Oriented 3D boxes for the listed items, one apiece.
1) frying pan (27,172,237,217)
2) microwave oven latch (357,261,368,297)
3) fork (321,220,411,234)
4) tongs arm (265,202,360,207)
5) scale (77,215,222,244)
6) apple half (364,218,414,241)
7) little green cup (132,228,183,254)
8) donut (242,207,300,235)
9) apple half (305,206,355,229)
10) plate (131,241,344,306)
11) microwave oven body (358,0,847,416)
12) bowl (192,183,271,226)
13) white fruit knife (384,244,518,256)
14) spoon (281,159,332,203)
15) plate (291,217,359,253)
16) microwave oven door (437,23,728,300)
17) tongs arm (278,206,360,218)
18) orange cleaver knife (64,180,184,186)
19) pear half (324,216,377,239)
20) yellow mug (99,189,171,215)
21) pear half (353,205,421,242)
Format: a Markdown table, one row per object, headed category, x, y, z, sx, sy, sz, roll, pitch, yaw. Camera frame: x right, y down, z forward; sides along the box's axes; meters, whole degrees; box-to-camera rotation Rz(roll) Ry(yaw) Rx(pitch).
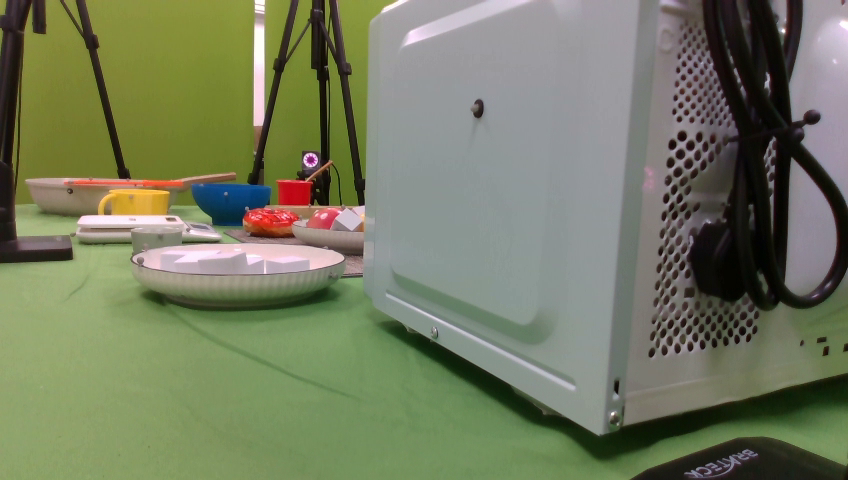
| category | x | y | z | sx | sy | sz | roll | pitch | yaw |
| --- | --- | --- | --- | --- | --- | --- | --- | --- | --- |
| frying pan | -0.624 | -0.118 | 1.387 | 0.305 | 0.102 | 0.490 | 8 | 17 | 32 |
| microwave oven latch | -0.019 | 0.033 | 0.531 | 0.079 | 0.029 | 0.030 | -1 | 7 | -27 |
| fork | -0.104 | -0.025 | 1.131 | 0.208 | 0.028 | 0.018 | -1 | 33 | -40 |
| tongs arm | -0.218 | -0.076 | 1.470 | 0.389 | 0.027 | 0.028 | 0 | 1 | -26 |
| scale | -0.434 | -0.019 | 0.963 | 0.202 | 0.031 | 0.148 | -1 | 9 | -27 |
| apple half | -0.054 | -0.019 | 0.968 | 0.081 | 0.033 | 0.081 | -3 | 10 | 1 |
| little green cup | -0.342 | 0.006 | 0.779 | 0.061 | 0.038 | 0.061 | 2 | 8 | 0 |
| donut | -0.263 | -0.032 | 1.039 | 0.099 | 0.048 | 0.099 | 4 | 9 | 0 |
| apple half | -0.138 | -0.025 | 0.917 | 0.081 | 0.053 | 0.074 | 0 | 10 | -43 |
| plate | -0.187 | 0.033 | 0.625 | 0.208 | 0.039 | 0.207 | 2 | 8 | 0 |
| microwave oven body | 0.211 | -0.047 | 0.475 | 0.444 | 0.260 | 0.324 | -1 | 7 | -28 |
| bowl | -0.382 | -0.071 | 1.202 | 0.151 | 0.077 | 0.151 | 3 | 7 | 0 |
| white fruit knife | 0.041 | 0.016 | 0.878 | 0.208 | 0.016 | 0.027 | -2 | -3 | -24 |
| spoon | -0.316 | -0.159 | 1.640 | 0.194 | 0.022 | 0.041 | -50 | 32 | -20 |
| plate | -0.103 | -0.009 | 0.945 | 0.209 | 0.038 | 0.209 | 2 | 7 | 0 |
| microwave oven door | 0.180 | -0.072 | 0.621 | 0.358 | 0.243 | 0.039 | -2 | 8 | -29 |
| tongs arm | -0.171 | -0.067 | 1.402 | 0.387 | 0.026 | 0.050 | -3 | 6 | -40 |
| orange cleaver knife | -0.595 | -0.114 | 1.212 | 0.212 | 0.012 | 0.077 | -4 | 7 | -41 |
| pear half | -0.119 | -0.023 | 0.996 | 0.088 | 0.031 | 0.070 | -4 | 23 | -27 |
| yellow mug | -0.518 | -0.055 | 1.080 | 0.099 | 0.064 | 0.131 | 7 | 9 | 26 |
| pear half | -0.051 | -0.023 | 0.905 | 0.110 | 0.056 | 0.076 | 2 | -2 | -38 |
